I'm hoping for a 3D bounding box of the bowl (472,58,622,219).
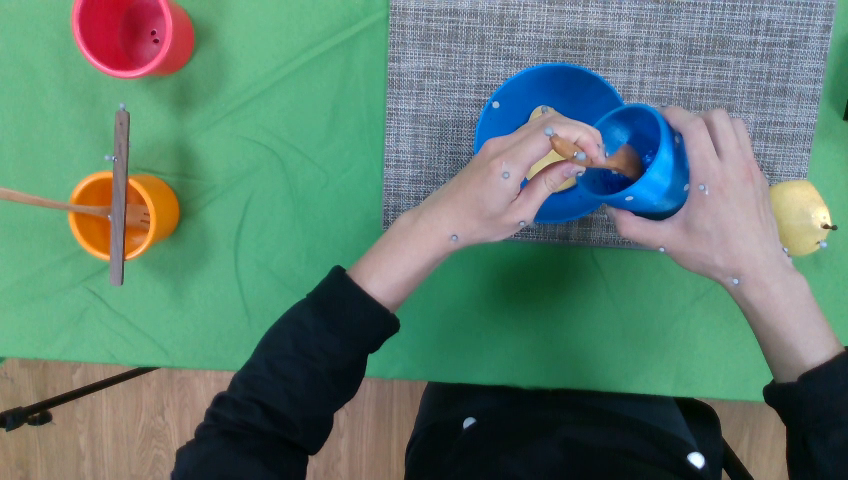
[{"bbox_3d":[0.122,-0.101,0.607,0.151,0.076,0.152,0,101,2],"label":"bowl"}]

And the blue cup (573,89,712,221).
[{"bbox_3d":[0.195,-0.061,0.522,0.101,0.091,0.093,22,103,-33],"label":"blue cup"}]

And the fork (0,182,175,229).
[{"bbox_3d":[-0.354,-0.040,0.603,0.209,0.018,0.028,12,115,-45],"label":"fork"}]

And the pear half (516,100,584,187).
[{"bbox_3d":[0.128,-0.097,0.601,0.070,0.031,0.088,-17,95,1],"label":"pear half"}]

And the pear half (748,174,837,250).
[{"bbox_3d":[0.362,-0.024,0.599,0.056,0.109,0.076,-15,96,6],"label":"pear half"}]

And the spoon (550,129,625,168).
[{"bbox_3d":[0.136,-0.065,0.466,0.021,0.195,0.041,-24,79,35],"label":"spoon"}]

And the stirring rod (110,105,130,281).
[{"bbox_3d":[-0.301,-0.044,0.599,0.014,0.006,0.176,8,102,-2],"label":"stirring rod"}]
